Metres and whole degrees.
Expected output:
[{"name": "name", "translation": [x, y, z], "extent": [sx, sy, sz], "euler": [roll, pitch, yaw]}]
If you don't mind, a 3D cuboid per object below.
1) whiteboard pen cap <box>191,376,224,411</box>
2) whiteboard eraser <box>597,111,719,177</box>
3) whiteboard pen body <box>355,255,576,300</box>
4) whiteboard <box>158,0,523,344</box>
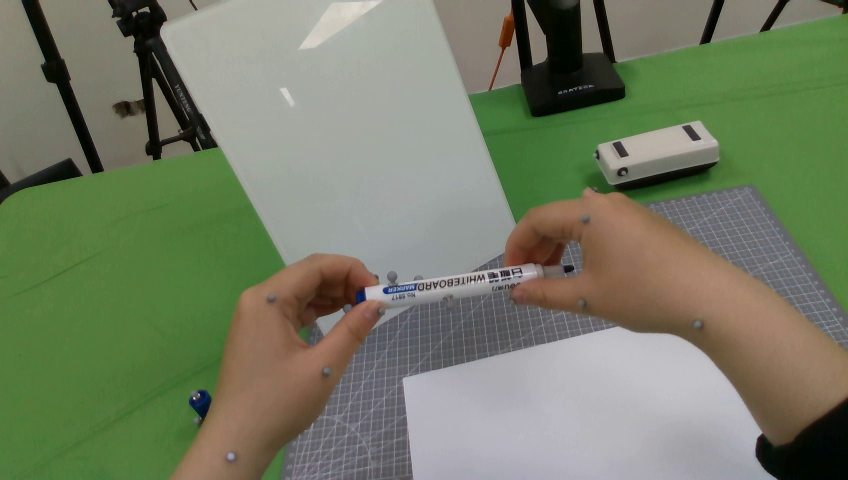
[{"name": "whiteboard pen cap", "translation": [-0.187, 0.133, 0.524], "extent": [0.018, 0.033, 0.018], "euler": [-8, 42, 8]}, {"name": "whiteboard eraser", "translation": [0.243, -0.098, 0.634], "extent": [0.112, 0.042, 0.055], "euler": [-12, 43, 4]}, {"name": "whiteboard pen body", "translation": [0.027, 0.022, 0.377], "extent": [0.141, 0.017, 0.017], "euler": [-7, 40, -7]}, {"name": "whiteboard", "translation": [-0.072, -0.100, 0.585], "extent": [0.217, 0.307, 0.142], "euler": [-29, 22, -13]}]
